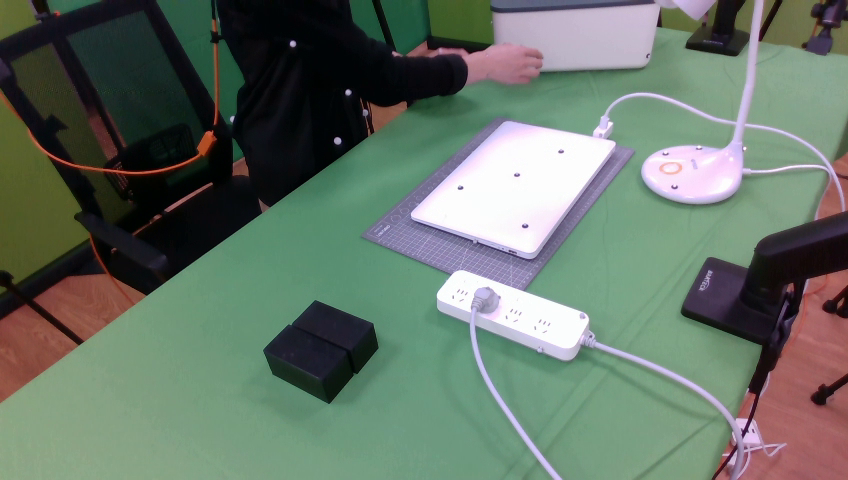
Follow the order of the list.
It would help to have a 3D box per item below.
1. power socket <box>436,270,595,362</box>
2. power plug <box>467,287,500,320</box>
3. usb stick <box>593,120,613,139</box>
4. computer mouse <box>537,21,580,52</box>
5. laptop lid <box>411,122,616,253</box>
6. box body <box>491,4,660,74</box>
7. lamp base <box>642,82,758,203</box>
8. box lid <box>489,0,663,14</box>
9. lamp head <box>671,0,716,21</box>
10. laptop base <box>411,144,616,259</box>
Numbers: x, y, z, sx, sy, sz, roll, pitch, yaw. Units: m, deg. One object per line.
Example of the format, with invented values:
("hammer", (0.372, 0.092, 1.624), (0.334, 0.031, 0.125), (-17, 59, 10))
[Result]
("power socket", (0.118, 0.101, 0.832), (0.225, 0.033, 0.072), (19, 48, 27))
("power plug", (0.073, 0.092, 0.814), (0.035, 0.053, 0.073), (29, 54, 34))
("usb stick", (0.336, -0.201, 1.147), (0.021, 0.027, 0.059), (26, 53, 27))
("computer mouse", (0.335, -0.503, 1.488), (0.118, 0.041, 0.062), (21, 20, -28))
("laptop lid", (0.165, -0.111, 1.067), (0.240, 0.013, 0.357), (19, 46, 31))
("box body", (0.346, -0.520, 1.429), (0.363, 0.161, 0.253), (0, 41, 9))
("lamp base", (0.464, -0.174, 0.992), (0.179, 0.181, 0.159), (-5, 41, -2))
("box lid", (0.340, -0.575, 1.380), (0.371, 0.015, 0.262), (0, 41, 9))
("lamp head", (0.375, -0.373, 0.807), (0.122, 0.113, 0.112), (-40, 27, 32))
("laptop base", (0.168, -0.102, 1.073), (0.234, 0.023, 0.355), (17, 46, 30))
